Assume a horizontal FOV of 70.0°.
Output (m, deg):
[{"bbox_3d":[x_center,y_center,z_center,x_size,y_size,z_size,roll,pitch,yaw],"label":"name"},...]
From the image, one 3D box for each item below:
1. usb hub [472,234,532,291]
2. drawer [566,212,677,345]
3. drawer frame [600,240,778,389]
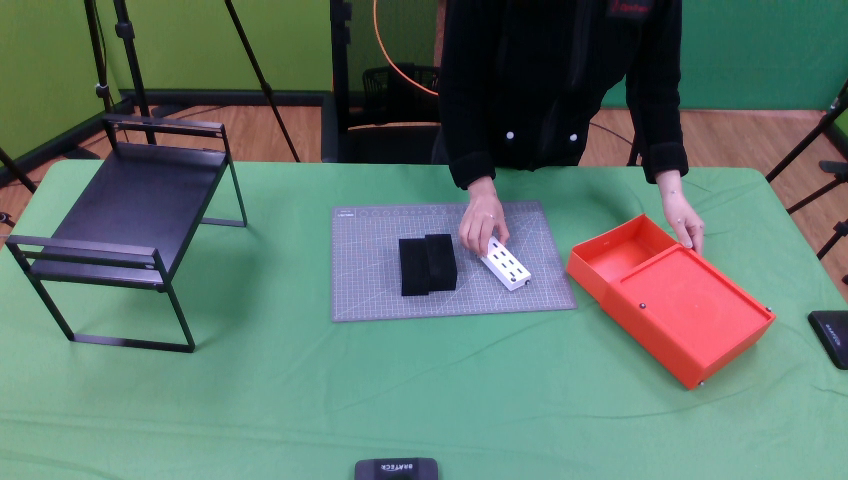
[{"bbox_3d":[0.147,0.041,1.157,0.049,0.025,0.124,-23,53,-27],"label":"usb hub"},{"bbox_3d":[0.408,0.066,1.124,0.194,0.073,0.210,-23,53,-24],"label":"drawer"},{"bbox_3d":[0.460,0.122,1.068,0.202,0.083,0.212,-25,53,-25],"label":"drawer frame"}]
